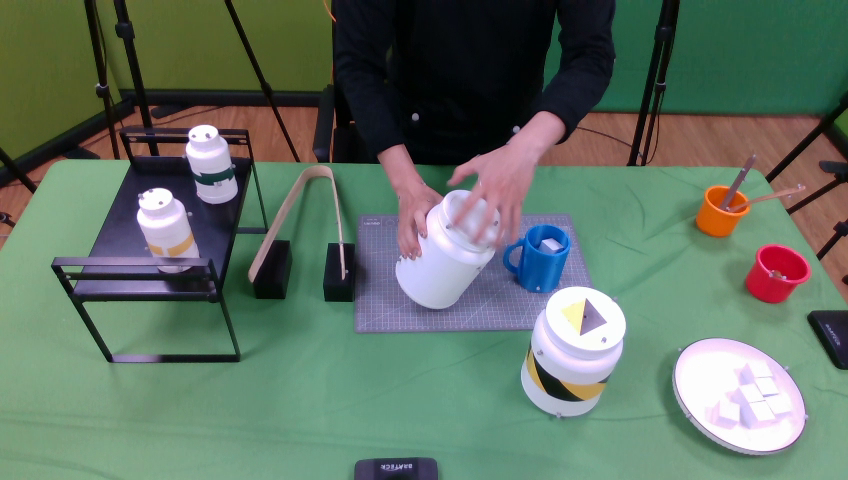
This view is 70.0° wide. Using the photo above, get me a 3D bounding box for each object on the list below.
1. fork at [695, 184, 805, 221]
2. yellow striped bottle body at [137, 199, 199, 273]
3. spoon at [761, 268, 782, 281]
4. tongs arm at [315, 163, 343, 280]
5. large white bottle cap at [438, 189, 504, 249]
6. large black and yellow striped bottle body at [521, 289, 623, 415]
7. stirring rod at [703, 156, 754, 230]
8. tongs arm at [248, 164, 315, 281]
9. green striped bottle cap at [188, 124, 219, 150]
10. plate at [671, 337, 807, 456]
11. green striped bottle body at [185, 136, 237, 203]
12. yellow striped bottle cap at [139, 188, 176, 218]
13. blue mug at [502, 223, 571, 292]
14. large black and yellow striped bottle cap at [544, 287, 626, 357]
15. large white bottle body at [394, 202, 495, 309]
[{"bbox_3d":[0.657,-0.075,1.230,0.207,0.019,0.028,-23,34,37],"label":"fork"},{"bbox_3d":[-0.366,-0.014,0.863,0.063,0.121,0.062,2,46,-2],"label":"yellow striped bottle body"},{"bbox_3d":[0.638,0.060,1.105,0.041,0.021,0.194,38,11,25],"label":"spoon"},{"bbox_3d":[-0.188,-0.049,1.170,0.051,0.026,0.382,-5,35,-6],"label":"tongs arm"},{"bbox_3d":[0.077,-0.035,0.979,0.115,0.018,0.114,18,44,-18],"label":"large white bottle cap"},{"bbox_3d":[0.228,0.173,0.938,0.131,0.185,0.130,2,47,-2],"label":"large black and yellow striped bottle body"},{"bbox_3d":[0.631,-0.098,1.258,0.014,0.006,0.176,33,95,28],"label":"stirring rod"},{"bbox_3d":[-0.269,-0.048,1.165,0.028,0.028,0.385,0,34,7],"label":"tongs arm"},{"bbox_3d":[-0.339,-0.158,0.931,0.044,0.020,0.044,4,46,-4],"label":"green striped bottle cap"},{"bbox_3d":[0.504,0.253,0.984,0.208,0.039,0.206,2,46,-2],"label":"plate"},{"bbox_3d":[-0.341,-0.121,0.969,0.063,0.120,0.063,2,46,-2],"label":"green striped bottle body"},{"bbox_3d":[-0.363,-0.051,0.826,0.044,0.019,0.044,1,47,-1],"label":"yellow striped bottle cap"},{"bbox_3d":[0.203,0.032,1.121,0.116,0.106,0.082,5,46,1],"label":"blue mug"},{"bbox_3d":[0.232,0.116,0.876,0.115,0.019,0.114,2,46,-1],"label":"large black and yellow striped bottle cap"},{"bbox_3d":[0.040,0.017,1.034,0.131,0.185,0.130,18,44,-18],"label":"large white bottle body"}]
